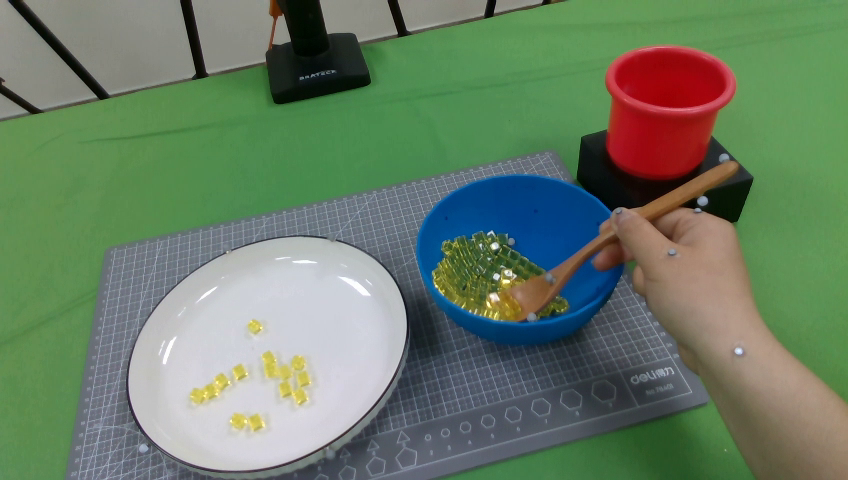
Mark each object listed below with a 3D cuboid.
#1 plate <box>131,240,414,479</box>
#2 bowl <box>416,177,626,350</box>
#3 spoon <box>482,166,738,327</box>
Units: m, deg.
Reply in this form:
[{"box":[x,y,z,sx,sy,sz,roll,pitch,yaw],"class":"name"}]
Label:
[{"box":[-0.110,0.086,0.461,0.207,0.039,0.205,-4,46,4],"class":"plate"},{"box":[0.072,0.030,0.463,0.151,0.077,0.150,-4,46,4],"class":"bowl"},{"box":[0.121,0.008,0.410,0.194,0.022,0.041,-38,20,20],"class":"spoon"}]
